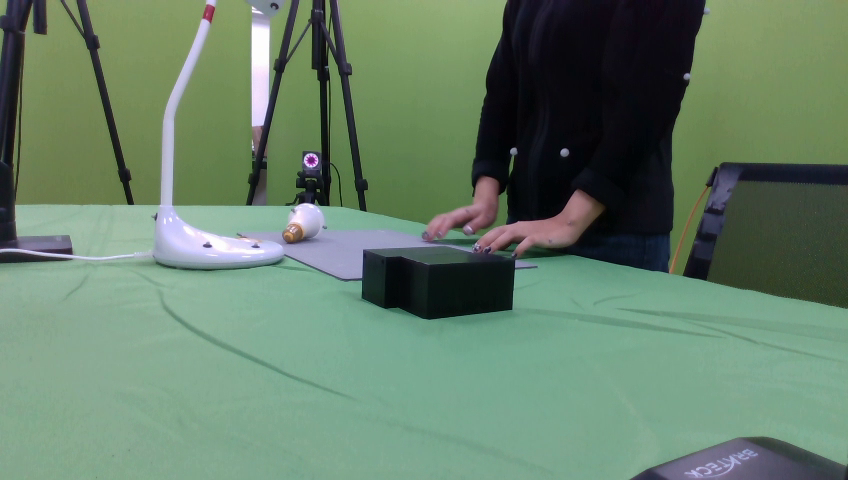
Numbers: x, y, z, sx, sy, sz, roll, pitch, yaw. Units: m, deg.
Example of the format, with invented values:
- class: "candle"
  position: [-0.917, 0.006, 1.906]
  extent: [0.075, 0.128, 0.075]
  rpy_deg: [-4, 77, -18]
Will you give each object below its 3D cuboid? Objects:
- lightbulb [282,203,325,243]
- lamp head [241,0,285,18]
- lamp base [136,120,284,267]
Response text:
- class: "lightbulb"
  position: [-0.202, -0.023, 0.993]
  extent: [0.059, 0.059, 0.108]
  rpy_deg: [3, 23, 12]
- class: "lamp head"
  position: [-0.233, -0.366, 0.790]
  extent: [0.123, 0.112, 0.112]
  rpy_deg: [15, -1, -33]
- class: "lamp base"
  position: [-0.272, -0.061, 0.769]
  extent: [0.180, 0.180, 0.160]
  rpy_deg: [-7, 11, -37]
